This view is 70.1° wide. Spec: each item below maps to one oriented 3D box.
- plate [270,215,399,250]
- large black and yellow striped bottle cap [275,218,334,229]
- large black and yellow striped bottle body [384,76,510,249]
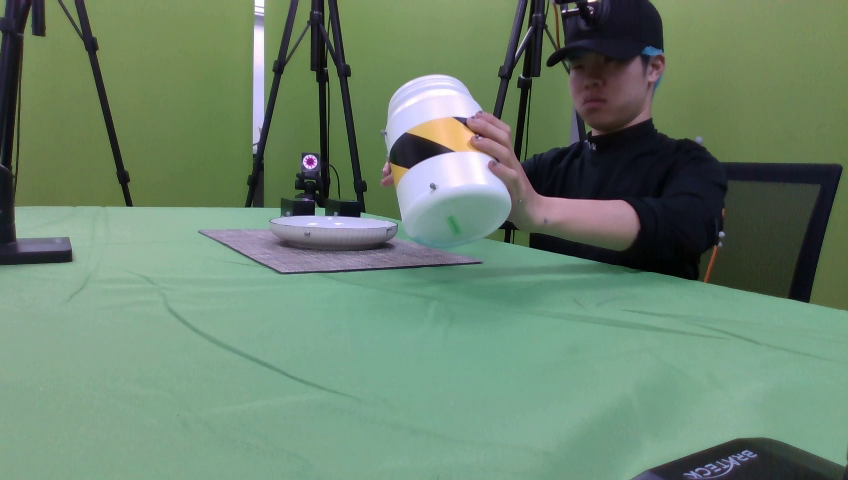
[{"bbox_3d":[-0.146,-0.013,0.991,0.208,0.039,0.207,2,7,0],"label":"plate"},{"bbox_3d":[-0.236,-0.033,1.197,0.115,0.019,0.115,1,3,0],"label":"large black and yellow striped bottle cap"},{"bbox_3d":[0.022,-0.097,0.744,0.131,0.183,0.131,-10,-28,-5],"label":"large black and yellow striped bottle body"}]
